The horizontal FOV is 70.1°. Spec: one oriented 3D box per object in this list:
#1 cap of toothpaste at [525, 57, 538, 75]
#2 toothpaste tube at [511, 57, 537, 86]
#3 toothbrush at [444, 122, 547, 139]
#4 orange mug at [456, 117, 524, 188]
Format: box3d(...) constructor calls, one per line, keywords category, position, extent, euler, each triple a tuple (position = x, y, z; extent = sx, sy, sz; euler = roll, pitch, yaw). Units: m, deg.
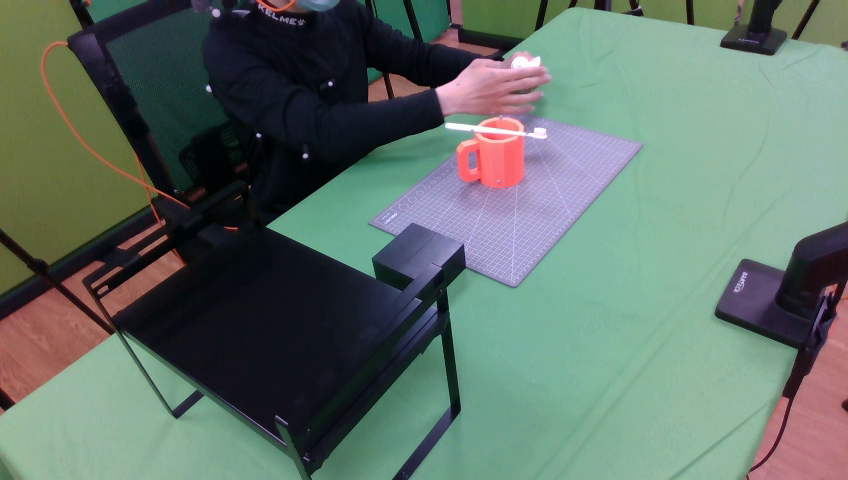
box3d(category="cap of toothpaste", position=(0.207, -0.335, 1.160), extent=(0.011, 0.037, 0.037), euler=(19, 36, -19))
box3d(category="toothpaste tube", position=(0.203, -0.344, 1.249), extent=(0.055, 0.034, 0.165), euler=(-2, 0, 12))
box3d(category="toothbrush", position=(0.121, -0.190, 1.034), extent=(0.181, 0.017, 0.014), euler=(10, 46, 18))
box3d(category="orange mug", position=(0.117, -0.152, 1.071), extent=(0.127, 0.101, 0.083), euler=(-14, 41, -14))
